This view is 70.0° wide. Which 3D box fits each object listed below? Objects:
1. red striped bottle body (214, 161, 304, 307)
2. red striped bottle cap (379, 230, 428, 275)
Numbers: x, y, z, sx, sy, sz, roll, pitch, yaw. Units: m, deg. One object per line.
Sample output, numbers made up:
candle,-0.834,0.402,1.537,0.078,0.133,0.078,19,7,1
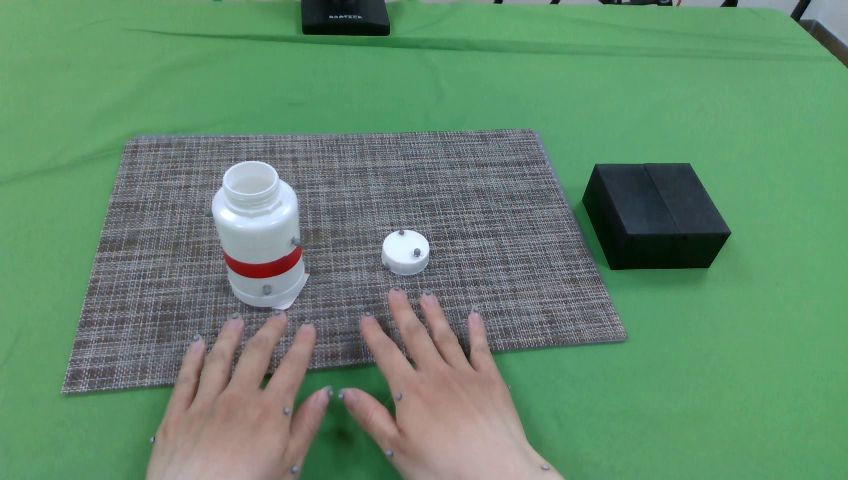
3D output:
red striped bottle body,-0.131,-0.005,0.487,0.063,0.120,0.062,4,47,-4
red striped bottle cap,-0.018,0.011,0.557,0.044,0.018,0.044,8,44,-7
